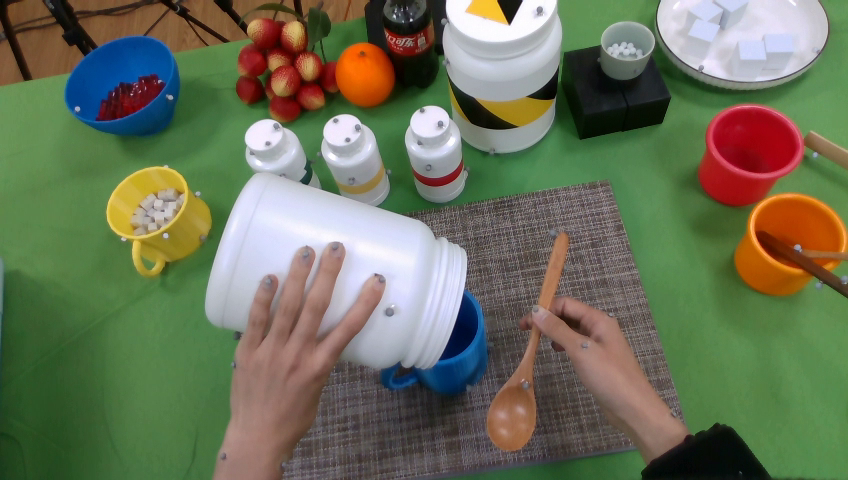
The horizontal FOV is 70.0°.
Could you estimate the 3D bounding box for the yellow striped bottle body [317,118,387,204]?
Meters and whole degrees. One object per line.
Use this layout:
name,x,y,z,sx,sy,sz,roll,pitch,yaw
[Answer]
yellow striped bottle body,-0.085,-0.095,0.707,0.063,0.121,0.062,-3,62,7

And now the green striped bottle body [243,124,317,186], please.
green striped bottle body,-0.171,-0.090,0.716,0.063,0.120,0.062,-3,63,5

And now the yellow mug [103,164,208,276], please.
yellow mug,-0.325,-0.020,0.730,0.100,0.064,0.130,0,64,7

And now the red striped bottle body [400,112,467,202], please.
red striped bottle body,0.011,-0.101,0.699,0.063,0.121,0.062,-6,60,11

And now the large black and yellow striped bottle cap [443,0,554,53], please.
large black and yellow striped bottle cap,0.077,-0.244,0.629,0.115,0.019,0.114,-4,64,9

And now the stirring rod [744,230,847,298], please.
stirring rod,0.360,0.019,0.584,0.014,0.006,0.175,-7,20,1

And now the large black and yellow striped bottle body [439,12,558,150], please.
large black and yellow striped bottle body,0.087,-0.206,0.705,0.130,0.185,0.129,-3,63,6

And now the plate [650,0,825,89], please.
plate,0.397,-0.274,0.783,0.209,0.038,0.207,-3,64,6

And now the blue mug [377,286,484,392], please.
blue mug,0.004,0.106,0.597,0.116,0.107,0.081,-35,64,-11

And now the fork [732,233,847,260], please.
fork,0.390,0.015,0.574,0.028,0.019,0.206,-45,22,-15

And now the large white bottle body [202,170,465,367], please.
large white bottle body,-0.070,0.029,0.500,0.185,0.131,0.129,18,65,-10

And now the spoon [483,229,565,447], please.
spoon,0.093,0.082,0.524,0.041,0.022,0.193,17,87,13

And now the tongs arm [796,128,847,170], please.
tongs arm,0.584,-0.022,0.633,0.050,0.027,0.381,-42,66,-18

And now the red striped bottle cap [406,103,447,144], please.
red striped bottle cap,0.003,-0.126,0.652,0.044,0.018,0.044,-1,61,2

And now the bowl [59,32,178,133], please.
bowl,-0.397,-0.199,0.823,0.151,0.077,0.150,-3,63,6

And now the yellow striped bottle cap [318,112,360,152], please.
yellow striped bottle cap,-0.092,-0.118,0.660,0.044,0.019,0.044,-1,59,2

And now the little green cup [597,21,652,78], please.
little green cup,0.235,-0.225,0.720,0.061,0.039,0.061,-2,60,4

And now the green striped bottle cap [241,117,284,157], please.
green striped bottle cap,-0.179,-0.114,0.670,0.044,0.020,0.044,-2,62,5
